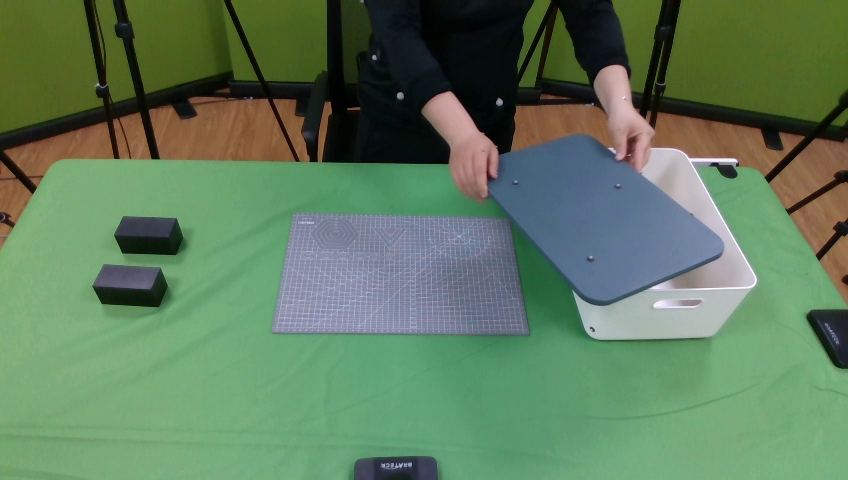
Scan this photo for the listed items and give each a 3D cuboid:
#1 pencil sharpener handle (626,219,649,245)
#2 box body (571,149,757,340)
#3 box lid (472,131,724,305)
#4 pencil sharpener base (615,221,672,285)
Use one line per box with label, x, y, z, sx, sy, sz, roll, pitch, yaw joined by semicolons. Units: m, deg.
pencil sharpener handle;0.405;-0.021;1.162;0.036;0.068;0.030;-1;45;-5
box body;0.395;0.003;1.127;0.254;0.161;0.361;-1;46;-5
box lid;0.271;-0.055;0.992;0.263;0.015;0.369;-19;47;-19
pencil sharpener base;0.408;0.024;1.135;0.061;0.107;0.076;-1;45;-4
